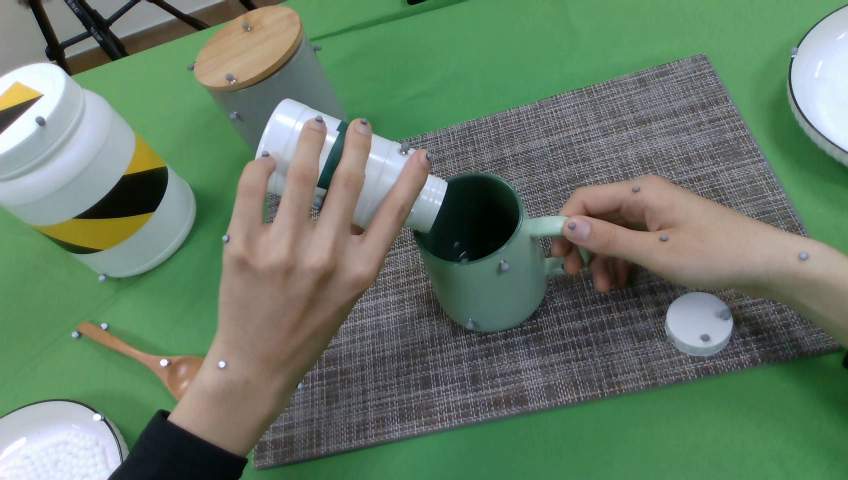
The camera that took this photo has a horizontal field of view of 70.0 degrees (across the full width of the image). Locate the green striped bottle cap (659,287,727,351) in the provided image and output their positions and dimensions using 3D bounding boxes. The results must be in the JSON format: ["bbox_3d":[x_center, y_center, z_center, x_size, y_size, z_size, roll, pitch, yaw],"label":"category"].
[{"bbox_3d":[0.192,0.056,0.434,0.044,0.020,0.044,-9,51,11],"label":"green striped bottle cap"}]

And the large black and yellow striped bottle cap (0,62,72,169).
[{"bbox_3d":[-0.352,-0.105,0.511,0.115,0.019,0.114,-8,55,12],"label":"large black and yellow striped bottle cap"}]

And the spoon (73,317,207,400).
[{"bbox_3d":[-0.265,0.099,0.555,0.192,0.022,0.041,15,84,25],"label":"spoon"}]

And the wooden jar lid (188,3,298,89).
[{"bbox_3d":[-0.161,-0.173,0.551,0.108,0.021,0.107,-11,55,16],"label":"wooden jar lid"}]

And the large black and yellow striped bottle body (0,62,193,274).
[{"bbox_3d":[-0.328,-0.063,0.579,0.130,0.186,0.129,-8,57,13],"label":"large black and yellow striped bottle body"}]

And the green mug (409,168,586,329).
[{"bbox_3d":[0.057,0.007,0.454,0.125,0.106,0.091,-7,57,14],"label":"green mug"}]

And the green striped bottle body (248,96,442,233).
[{"bbox_3d":[-0.049,-0.046,0.405,0.119,0.063,0.063,20,63,-6],"label":"green striped bottle body"}]

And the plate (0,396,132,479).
[{"bbox_3d":[-0.321,0.229,0.481,0.209,0.038,0.207,-8,56,13],"label":"plate"}]

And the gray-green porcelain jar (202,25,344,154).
[{"bbox_3d":[-0.144,-0.137,0.599,0.105,0.128,0.105,-9,52,13],"label":"gray-green porcelain jar"}]

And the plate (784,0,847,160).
[{"bbox_3d":[0.395,-0.123,0.471,0.207,0.039,0.205,-9,57,13],"label":"plate"}]
